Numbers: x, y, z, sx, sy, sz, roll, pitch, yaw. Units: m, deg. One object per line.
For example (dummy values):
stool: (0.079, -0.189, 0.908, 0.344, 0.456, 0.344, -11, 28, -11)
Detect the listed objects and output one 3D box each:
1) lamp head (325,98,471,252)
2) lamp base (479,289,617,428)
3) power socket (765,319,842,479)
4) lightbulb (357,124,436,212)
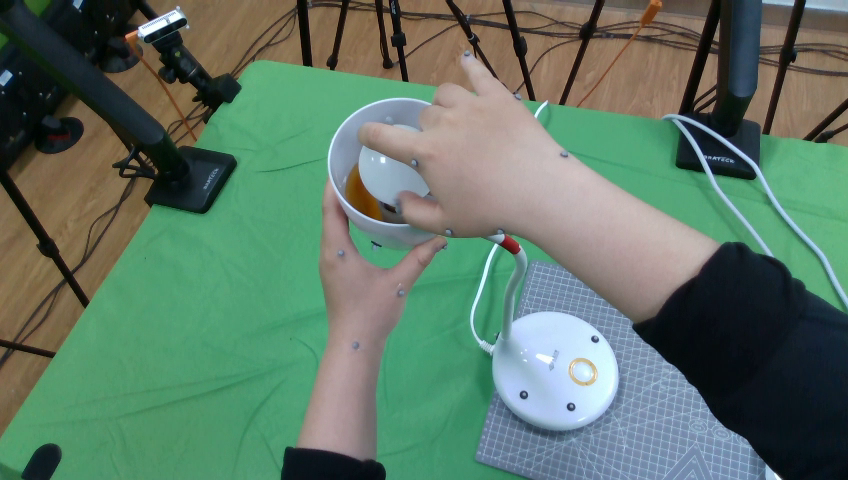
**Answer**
lamp head: (-0.016, -0.039, 0.507, 0.112, 0.124, 0.111, -1, 66, 4)
lamp base: (0.146, 0.120, 0.723, 0.178, 0.182, 0.159, 6, 58, 14)
power socket: (0.452, 0.196, 0.726, 0.072, 0.033, 0.225, 12, 59, 13)
lightbulb: (-0.021, -0.049, 0.475, 0.059, 0.108, 0.059, 1, 72, -1)
